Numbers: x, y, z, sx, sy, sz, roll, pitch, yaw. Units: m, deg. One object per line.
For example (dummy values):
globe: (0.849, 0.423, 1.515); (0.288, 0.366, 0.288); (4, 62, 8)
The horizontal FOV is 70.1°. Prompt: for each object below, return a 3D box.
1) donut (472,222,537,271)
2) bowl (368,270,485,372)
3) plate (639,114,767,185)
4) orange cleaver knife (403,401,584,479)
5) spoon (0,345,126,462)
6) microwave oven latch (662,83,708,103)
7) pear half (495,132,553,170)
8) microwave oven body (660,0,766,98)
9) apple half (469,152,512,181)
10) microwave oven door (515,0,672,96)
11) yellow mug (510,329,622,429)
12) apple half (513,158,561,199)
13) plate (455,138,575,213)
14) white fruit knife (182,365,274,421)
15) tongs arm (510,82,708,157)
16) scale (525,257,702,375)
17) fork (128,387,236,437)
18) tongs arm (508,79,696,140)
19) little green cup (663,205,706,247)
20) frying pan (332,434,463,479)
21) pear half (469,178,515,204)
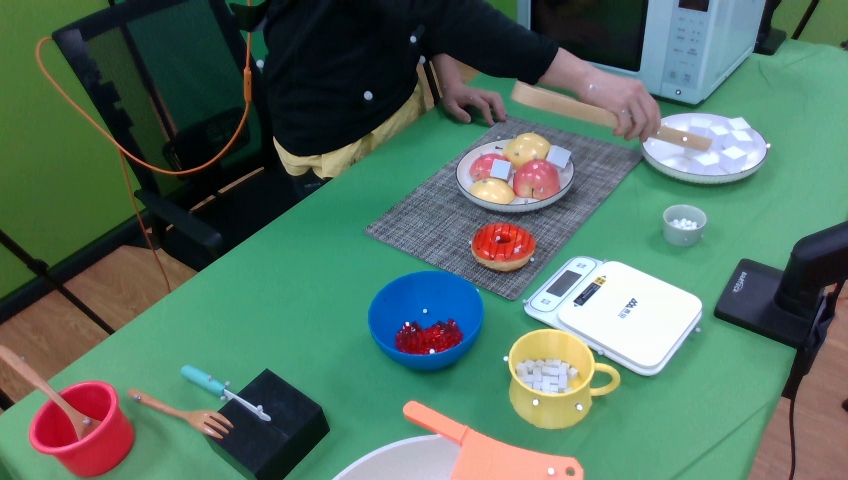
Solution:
donut: (0.123, 0.009, 0.923); (0.099, 0.048, 0.098); (-4, 38, 3)
bowl: (0.007, 0.118, 0.791); (0.151, 0.077, 0.150); (-5, 40, 4)
plate: (0.489, -0.157, 1.074); (0.207, 0.039, 0.206); (-4, 40, 4)
orange cleaver knife: (0.062, 0.222, 0.609); (0.210, 0.012, 0.077); (15, 49, 25)
spoon: (-0.434, 0.192, 0.720); (0.194, 0.021, 0.042); (47, 53, -6)
microwave oven latch: (0.518, -0.296, 1.204); (0.078, 0.029, 0.030); (28, 52, 35)
pear half: (0.174, -0.167, 1.094); (0.109, 0.056, 0.076); (15, 53, 30)
microwave oven body: (0.472, -0.513, 1.317); (0.438, 0.261, 0.327); (26, 51, 34)
apple half: (0.120, -0.139, 1.088); (0.081, 0.033, 0.081); (0, 44, 1)
microwave oven door: (0.344, -0.455, 1.259); (0.353, 0.245, 0.039); (26, 51, 33)
yellow mug: (0.168, 0.164, 0.721); (0.130, 0.064, 0.099); (0, 40, 8)
apple half: (0.193, -0.111, 1.031); (0.080, 0.053, 0.075); (11, 41, 26)
plate: (0.159, -0.111, 1.063); (0.209, 0.038, 0.208); (-4, 40, 4)
white fruit knife: (-0.245, 0.188, 0.747); (0.205, 0.027, 0.016); (9, 41, 41)
tongs arm: (0.313, -0.189, 0.976); (0.390, 0.028, 0.028); (10, 28, -23)
scale: (0.254, 0.091, 0.821); (0.199, 0.032, 0.149); (28, 51, 35)
fork: (-0.305, 0.207, 0.744); (0.206, 0.019, 0.028); (3, 41, 36)
tongs arm: (0.307, -0.199, 0.995); (0.387, 0.026, 0.050); (12, 24, -19)
little green cup: (0.396, -0.020, 0.926); (0.061, 0.039, 0.061); (-4, 40, 4)
frying pan: (-0.089, 0.306, 0.564); (0.487, 0.103, 0.306); (10, 41, 7)
pear half: (0.115, -0.090, 1.035); (0.087, 0.031, 0.071); (28, 38, 32)
